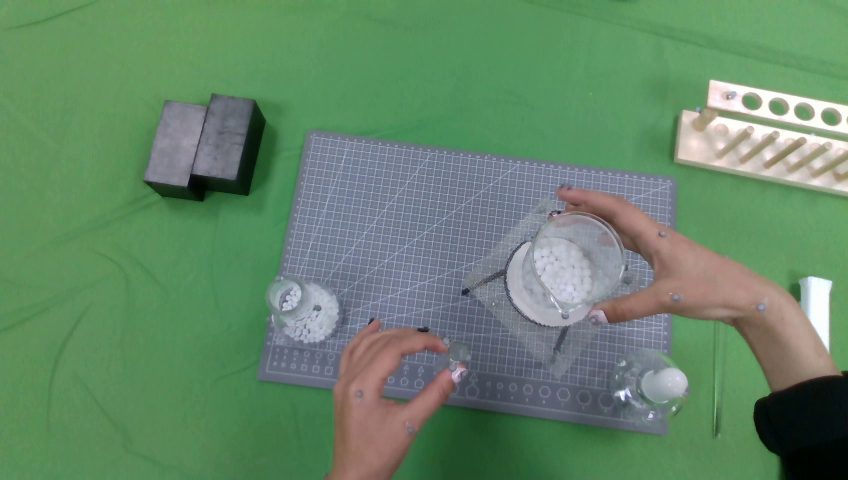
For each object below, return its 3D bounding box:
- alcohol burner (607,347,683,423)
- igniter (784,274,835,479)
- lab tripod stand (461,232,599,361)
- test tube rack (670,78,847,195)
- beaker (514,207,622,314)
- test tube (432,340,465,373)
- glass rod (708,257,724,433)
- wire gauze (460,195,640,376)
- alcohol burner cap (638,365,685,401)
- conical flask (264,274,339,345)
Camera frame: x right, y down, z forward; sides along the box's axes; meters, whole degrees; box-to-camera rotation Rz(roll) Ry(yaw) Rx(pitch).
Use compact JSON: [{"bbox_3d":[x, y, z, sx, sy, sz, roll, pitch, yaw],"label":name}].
[{"bbox_3d":[0.229,0.145,0.615,0.078,0.120,0.077,0,74,2],"label":"alcohol burner"},{"bbox_3d":[0.420,0.173,0.658,0.057,0.025,0.275,12,76,-9],"label":"igniter"},{"bbox_3d":[0.114,0.052,0.626,0.148,0.132,0.147,0,77,1],"label":"lab tripod stand"},{"bbox_3d":[0.425,-0.115,0.702,0.242,0.085,0.066,11,75,2],"label":"test tube rack"},{"bbox_3d":[0.116,0.026,0.515,0.074,0.100,0.083,13,77,4],"label":"beaker"},{"bbox_3d":[0.019,0.101,0.515,0.017,0.151,0.017,1,74,-3],"label":"test tube"},{"bbox_3d":[0.329,0.115,0.682,0.008,0.008,0.199,9,78,1],"label":"glass rod"},{"bbox_3d":[0.116,0.038,0.561,0.121,0.011,0.124,-44,82,-9],"label":"wire gauze"},{"bbox_3d":[0.230,0.135,0.580,0.034,0.048,0.033,2,69,-5],"label":"alcohol burner cap"},{"bbox_3d":[-0.131,0.066,0.623,0.075,0.122,0.075,0,75,-1],"label":"conical flask"}]
